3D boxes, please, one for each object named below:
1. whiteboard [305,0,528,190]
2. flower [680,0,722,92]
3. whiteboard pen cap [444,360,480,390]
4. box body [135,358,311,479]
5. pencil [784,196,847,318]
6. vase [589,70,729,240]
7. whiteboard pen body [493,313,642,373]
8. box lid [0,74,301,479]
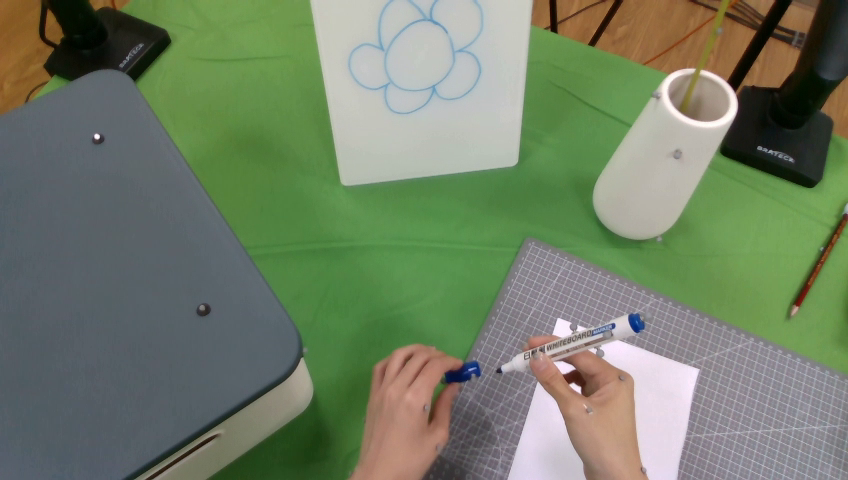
[{"bbox_3d":[-0.012,-0.231,0.675,0.217,0.308,0.142,-7,44,-5],"label":"whiteboard"},{"bbox_3d":[0.239,-0.134,0.564,0.044,0.365,0.038,18,46,12],"label":"flower"},{"bbox_3d":[0.036,0.125,0.558,0.033,0.018,0.018,-33,63,19],"label":"whiteboard pen cap"},{"bbox_3d":[-0.298,0.062,0.560,0.254,0.161,0.361,-33,68,-17],"label":"box body"},{"bbox_3d":[0.451,0.017,0.691,0.012,0.012,0.193,35,68,16],"label":"pencil"},{"bbox_3d":[0.238,-0.082,0.630,0.098,0.201,0.097,0,61,0],"label":"vase"},{"bbox_3d":[0.110,0.087,0.489,0.017,0.140,0.017,28,47,-36],"label":"whiteboard pen body"},{"bbox_3d":[-0.298,0.026,0.494,0.263,0.015,0.368,-33,68,-17],"label":"box lid"}]
